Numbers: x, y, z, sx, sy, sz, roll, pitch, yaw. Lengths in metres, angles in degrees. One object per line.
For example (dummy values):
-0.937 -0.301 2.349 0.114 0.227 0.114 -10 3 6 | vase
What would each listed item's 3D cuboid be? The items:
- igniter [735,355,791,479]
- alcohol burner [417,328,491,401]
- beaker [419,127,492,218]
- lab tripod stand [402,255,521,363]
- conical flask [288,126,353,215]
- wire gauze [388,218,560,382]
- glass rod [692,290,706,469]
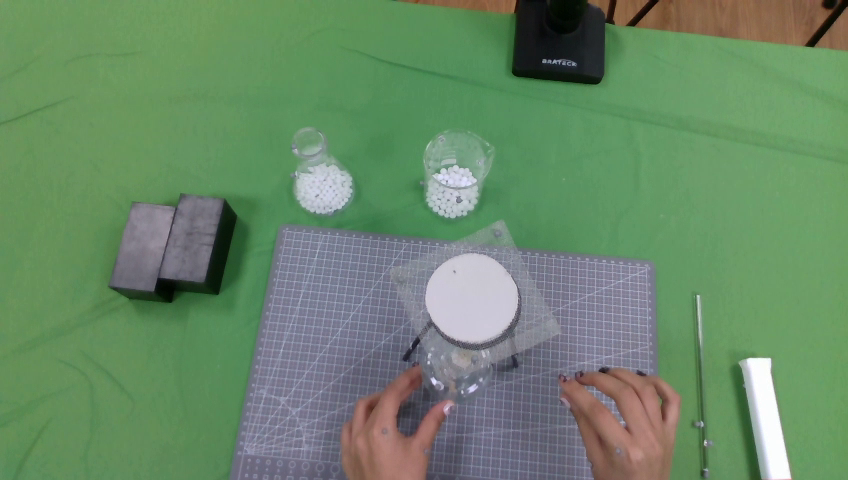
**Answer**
0.368 0.260 0.635 0.057 0.025 0.274 3 71 -12 | igniter
0.033 0.125 0.622 0.078 0.120 0.077 1 69 -3 | alcohol burner
0.034 -0.074 0.701 0.084 0.101 0.073 -20 73 -9 | beaker
0.043 0.080 0.627 0.148 0.132 0.147 0 73 -1 | lab tripod stand
-0.123 -0.083 0.686 0.075 0.122 0.075 1 70 -1 | conical flask
0.045 0.054 0.565 0.125 0.011 0.120 -23 75 -8 | wire gauze
0.310 0.151 0.680 0.008 0.008 0.198 6 71 0 | glass rod
